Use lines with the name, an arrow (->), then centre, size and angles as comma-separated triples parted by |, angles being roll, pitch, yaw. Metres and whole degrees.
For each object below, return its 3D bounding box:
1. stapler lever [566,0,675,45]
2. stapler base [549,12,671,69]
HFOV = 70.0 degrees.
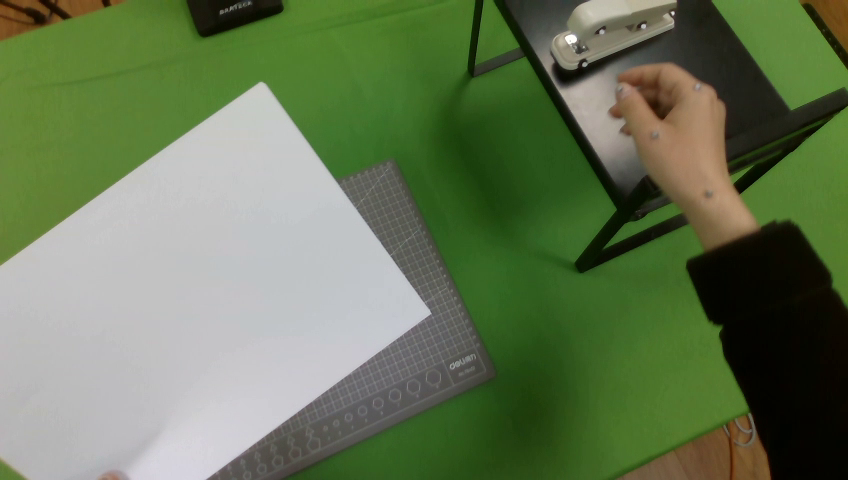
stapler lever -> 0.191, -0.222, 0.584 | 0.118, 0.040, 0.026 | -25, 76, -10
stapler base -> 0.189, -0.213, 0.607 | 0.130, 0.024, 0.041 | -24, 77, -11
